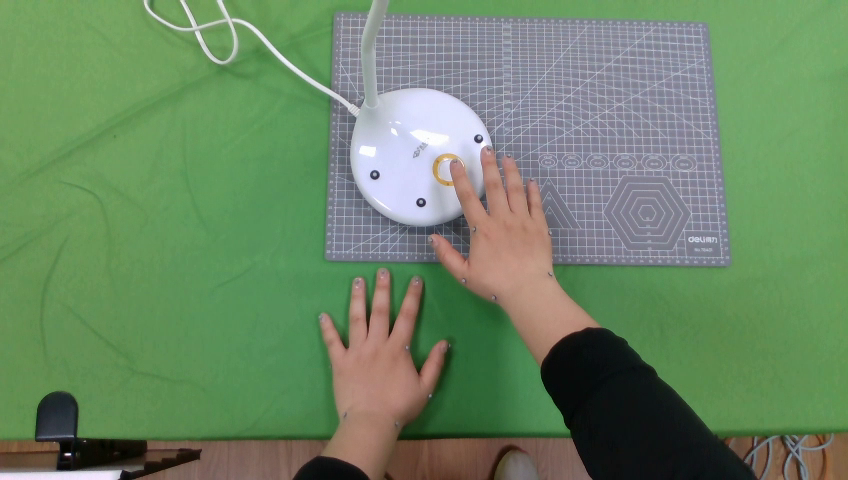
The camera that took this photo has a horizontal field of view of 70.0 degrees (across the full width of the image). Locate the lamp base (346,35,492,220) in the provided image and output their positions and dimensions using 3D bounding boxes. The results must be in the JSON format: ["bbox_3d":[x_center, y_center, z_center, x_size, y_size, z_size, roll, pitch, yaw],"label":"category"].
[{"bbox_3d":[-0.015,-0.121,0.599,0.179,0.181,0.160,27,79,7],"label":"lamp base"}]
